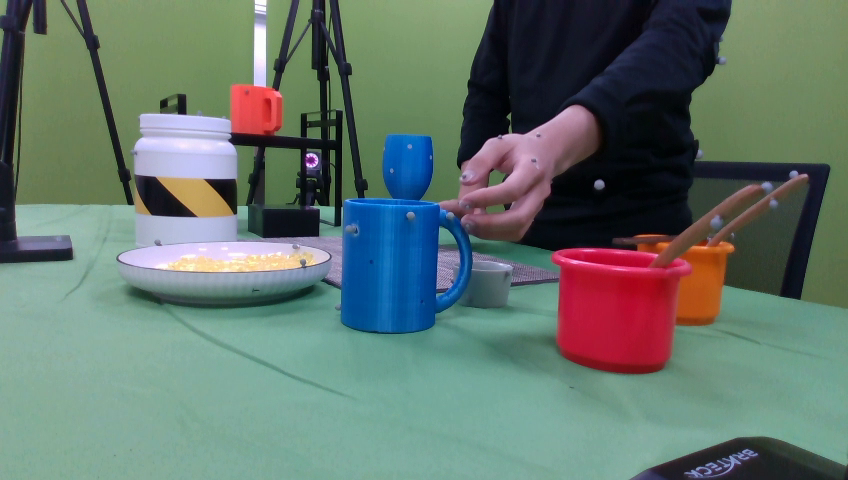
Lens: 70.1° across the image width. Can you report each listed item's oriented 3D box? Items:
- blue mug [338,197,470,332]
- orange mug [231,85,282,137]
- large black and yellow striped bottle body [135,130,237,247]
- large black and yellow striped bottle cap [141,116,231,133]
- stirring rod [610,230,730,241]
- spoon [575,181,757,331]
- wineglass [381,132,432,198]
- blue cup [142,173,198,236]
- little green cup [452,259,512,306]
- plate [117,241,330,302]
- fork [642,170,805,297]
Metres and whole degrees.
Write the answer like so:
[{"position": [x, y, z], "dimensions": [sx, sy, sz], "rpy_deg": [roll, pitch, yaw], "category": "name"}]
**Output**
[{"position": [-0.016, 0.018, 0.523], "dimensions": [0.117, 0.106, 0.082], "rpy_deg": [1, 8, -13], "category": "blue mug"}, {"position": [-0.335, -0.261, 1.225], "dimensions": [0.125, 0.100, 0.084], "rpy_deg": [2, 6, 35], "category": "orange mug"}, {"position": [-0.327, -0.074, 0.838], "dimensions": [0.131, 0.184, 0.130], "rpy_deg": [2, 7, 0], "category": "large black and yellow striped bottle body"}, {"position": [-0.324, -0.157, 0.826], "dimensions": [0.115, 0.019, 0.115], "rpy_deg": [1, 7, 0], "category": "large black and yellow striped bottle cap"}, {"position": [0.241, -0.005, 0.581], "dimensions": [0.177, 0.006, 0.014], "rpy_deg": [-3, 10, -34], "category": "stirring rod"}, {"position": [0.156, 0.019, 0.412], "dimensions": [0.042, 0.021, 0.193], "rpy_deg": [1, -36, -16], "category": "spoon"}, {"position": [-0.026, -0.062, 0.841], "dimensions": [0.074, 0.172, 0.073], "rpy_deg": [2, 7, 0], "category": "wineglass"}, {"position": [-0.425, -0.060, 1.014], "dimensions": [0.093, 0.100, 0.092], "rpy_deg": [4, 9, 0], "category": "blue cup"}, {"position": [0.058, 0.043, 0.611], "dimensions": [0.061, 0.038, 0.061], "rpy_deg": [3, 7, 0], "category": "little green cup"}, {"position": [-0.203, 0.031, 0.630], "dimensions": [0.209, 0.038, 0.209], "rpy_deg": [3, 7, 0], "category": "plate"}, {"position": [0.261, 0.004, 0.545], "dimensions": [0.028, 0.018, 0.207], "rpy_deg": [5, -37, -16], "category": "fork"}]
